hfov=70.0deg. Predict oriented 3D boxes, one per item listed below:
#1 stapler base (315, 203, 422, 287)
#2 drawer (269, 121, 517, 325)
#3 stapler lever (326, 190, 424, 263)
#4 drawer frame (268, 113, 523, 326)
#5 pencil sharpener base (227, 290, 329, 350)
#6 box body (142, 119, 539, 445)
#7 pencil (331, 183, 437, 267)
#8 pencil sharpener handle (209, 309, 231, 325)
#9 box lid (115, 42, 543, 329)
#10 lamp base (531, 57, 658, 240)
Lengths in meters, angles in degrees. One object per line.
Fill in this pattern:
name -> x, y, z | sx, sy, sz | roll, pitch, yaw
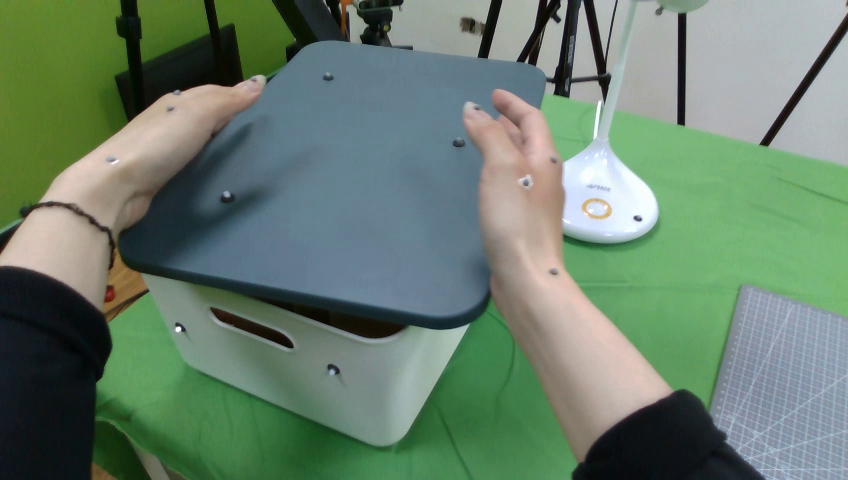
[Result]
stapler base -> -0.055, -0.001, 0.627 | 0.129, 0.024, 0.041 | 37, 37, 23
drawer -> -0.023, -0.032, 0.650 | 0.194, 0.073, 0.211 | 27, 36, 9
stapler lever -> -0.049, -0.020, 0.613 | 0.117, 0.040, 0.027 | 38, 37, 22
drawer frame -> -0.022, -0.035, 0.652 | 0.201, 0.083, 0.213 | 26, 36, 10
pencil sharpener base -> -0.140, 0.062, 0.575 | 0.076, 0.108, 0.061 | 11, 41, 12
box body -> -0.060, -0.004, 0.621 | 0.253, 0.162, 0.362 | 17, 43, 18
pencil -> -0.047, -0.018, 0.653 | 0.012, 0.012, 0.192 | -27, 44, -28
pencil sharpener handle -> -0.191, 0.046, 0.568 | 0.030, 0.068, 0.036 | 11, 5, 12
box lid -> -0.049, -0.079, 0.513 | 0.262, 0.015, 0.369 | 9, 42, 11
lamp base -> 0.222, -0.121, 0.748 | 0.160, 0.182, 0.177 | 3, 38, 4
